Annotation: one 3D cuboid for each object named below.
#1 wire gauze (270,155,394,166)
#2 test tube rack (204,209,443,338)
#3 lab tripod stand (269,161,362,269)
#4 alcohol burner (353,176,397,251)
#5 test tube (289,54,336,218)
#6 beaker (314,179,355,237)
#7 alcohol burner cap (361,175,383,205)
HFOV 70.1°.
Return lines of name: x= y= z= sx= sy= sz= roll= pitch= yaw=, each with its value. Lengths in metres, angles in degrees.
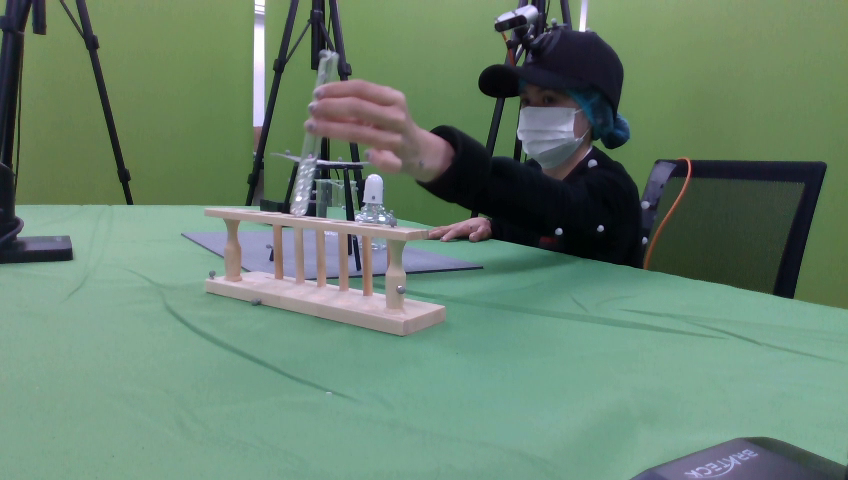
wire gauze: x=-0.121 y=-0.101 z=0.785 sx=0.122 sy=0.011 sz=0.124 roll=-3 pitch=10 yaw=-39
test tube rack: x=-0.100 y=0.021 z=0.565 sx=0.241 sy=0.085 sz=0.067 roll=7 pitch=8 yaw=32
lab tripod stand: x=-0.125 y=-0.036 z=0.794 sx=0.148 sy=0.131 sz=0.148 roll=5 pitch=7 yaw=0
alcohol burner: x=-0.082 y=-0.043 z=0.950 sx=0.078 sy=0.119 sz=0.078 roll=1 pitch=8 yaw=0
test tube: x=-0.101 y=-0.093 z=0.549 sx=0.017 sy=0.150 sz=0.017 roll=12 pitch=4 yaw=-1
beaker: x=-0.162 y=-0.058 z=1.094 sx=0.074 sy=0.100 sz=0.083 roll=0 pitch=9 yaw=-21
alcohol burner cap: x=-0.080 y=-0.078 z=0.944 sx=0.034 sy=0.048 sz=0.034 roll=5 pitch=7 yaw=0
